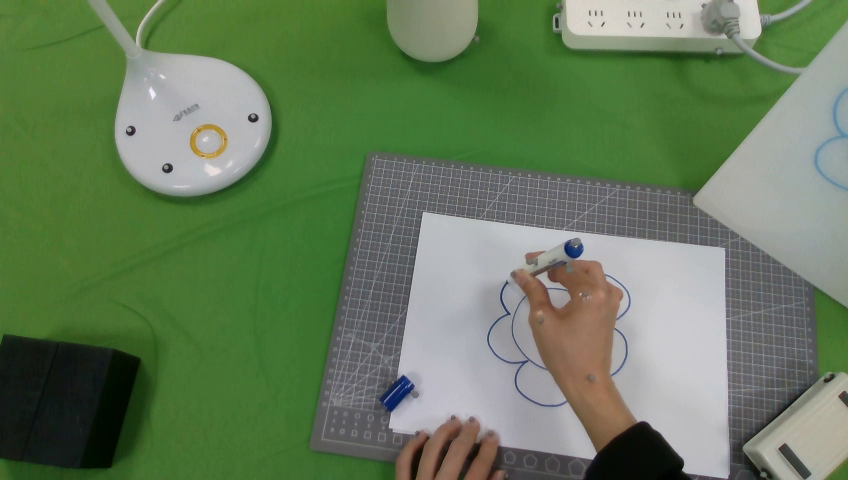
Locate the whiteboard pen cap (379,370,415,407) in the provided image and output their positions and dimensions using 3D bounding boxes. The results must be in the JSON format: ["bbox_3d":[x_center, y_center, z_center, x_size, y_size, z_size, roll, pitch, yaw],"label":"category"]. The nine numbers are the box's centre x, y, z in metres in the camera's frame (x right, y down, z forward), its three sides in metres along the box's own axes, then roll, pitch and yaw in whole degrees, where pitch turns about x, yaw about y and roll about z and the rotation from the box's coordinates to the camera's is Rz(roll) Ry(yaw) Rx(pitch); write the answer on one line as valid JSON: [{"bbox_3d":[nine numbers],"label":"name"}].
[{"bbox_3d":[-0.024,0.134,0.548,0.018,0.018,0.033,42,75,14],"label":"whiteboard pen cap"}]

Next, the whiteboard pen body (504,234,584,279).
[{"bbox_3d":[0.097,0.018,0.521,0.017,0.141,0.017,4,75,-14],"label":"whiteboard pen body"}]

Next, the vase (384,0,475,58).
[{"bbox_3d":[0.003,-0.268,0.587,0.098,0.201,0.097,-1,71,2],"label":"vase"}]

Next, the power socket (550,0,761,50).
[{"bbox_3d":[0.254,-0.248,0.664,0.227,0.033,0.072,2,73,1],"label":"power socket"}]

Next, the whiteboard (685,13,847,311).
[{"bbox_3d":[0.418,-0.102,0.504,0.216,0.307,0.143,38,55,13],"label":"whiteboard"}]

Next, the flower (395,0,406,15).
[{"bbox_3d":[0.020,-0.285,0.506,0.044,0.361,0.038,-35,91,-19],"label":"flower"}]

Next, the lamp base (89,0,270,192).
[{"bbox_3d":[-0.253,-0.157,0.563,0.178,0.181,0.160,40,76,16],"label":"lamp base"}]

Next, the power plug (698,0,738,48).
[{"bbox_3d":[0.303,-0.225,0.633,0.035,0.053,0.072,12,78,5],"label":"power plug"}]

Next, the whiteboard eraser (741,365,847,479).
[{"bbox_3d":[0.331,0.161,0.521,0.112,0.042,0.055,-35,74,-10],"label":"whiteboard eraser"}]
